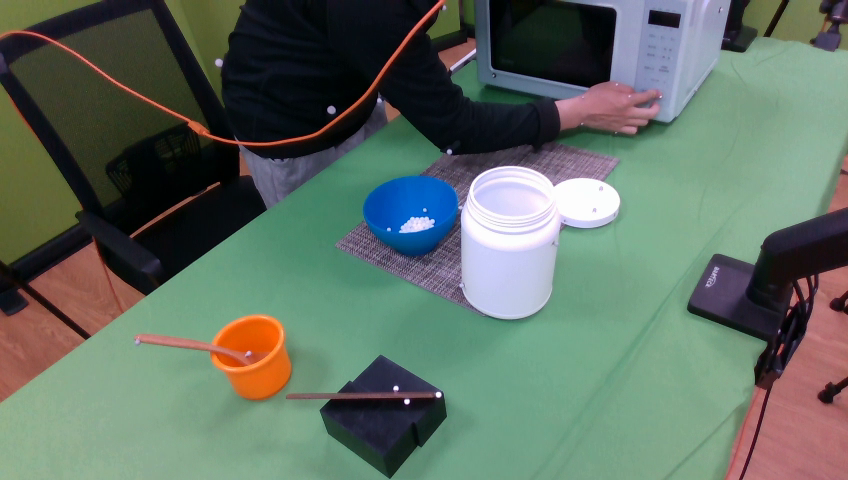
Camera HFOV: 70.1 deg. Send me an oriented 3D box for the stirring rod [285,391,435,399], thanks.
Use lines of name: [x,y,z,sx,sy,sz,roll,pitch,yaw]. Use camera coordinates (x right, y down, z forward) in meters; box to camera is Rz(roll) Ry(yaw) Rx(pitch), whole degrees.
stirring rod: [-0.075,0.179,0.698,0.176,0.006,0.014,-2,6,6]

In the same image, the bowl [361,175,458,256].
bowl: [-0.019,-0.029,0.955,0.151,0.077,0.150,-4,40,4]

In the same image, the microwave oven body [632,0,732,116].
microwave oven body: [0.377,-0.463,1.267,0.438,0.261,0.327,21,49,30]

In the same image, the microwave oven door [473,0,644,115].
microwave oven door: [0.257,-0.396,1.199,0.353,0.245,0.039,21,48,29]

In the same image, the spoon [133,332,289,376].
spoon: [-0.257,0.137,0.748,0.021,0.195,0.041,-48,40,22]

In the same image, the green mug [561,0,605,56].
green mug: [0.336,-0.450,1.293,0.092,0.105,0.125,7,49,22]

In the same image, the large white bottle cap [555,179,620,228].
large white bottle cap: [0.265,-0.062,1.001,0.115,0.018,0.114,-4,41,4]

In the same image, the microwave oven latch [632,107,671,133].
microwave oven latch: [0.428,-0.229,1.137,0.079,0.029,0.030,-24,42,-19]

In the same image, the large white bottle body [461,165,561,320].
large white bottle body: [0.115,0.004,0.816,0.130,0.185,0.130,-2,43,2]
